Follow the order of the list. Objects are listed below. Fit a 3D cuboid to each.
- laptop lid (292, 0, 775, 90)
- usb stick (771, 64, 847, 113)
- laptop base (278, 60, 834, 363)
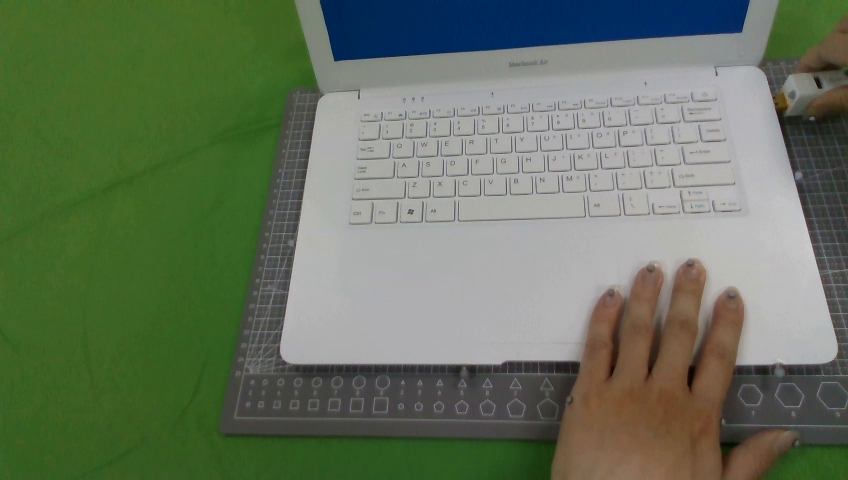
[{"bbox_3d":[0.070,-0.213,0.412,0.356,0.244,0.013,-3,44,9],"label":"laptop lid"},{"bbox_3d":[0.279,-0.110,0.442,0.059,0.027,0.021,-8,58,7],"label":"usb stick"},{"bbox_3d":[0.079,-0.025,0.441,0.354,0.023,0.233,-2,66,8],"label":"laptop base"}]
